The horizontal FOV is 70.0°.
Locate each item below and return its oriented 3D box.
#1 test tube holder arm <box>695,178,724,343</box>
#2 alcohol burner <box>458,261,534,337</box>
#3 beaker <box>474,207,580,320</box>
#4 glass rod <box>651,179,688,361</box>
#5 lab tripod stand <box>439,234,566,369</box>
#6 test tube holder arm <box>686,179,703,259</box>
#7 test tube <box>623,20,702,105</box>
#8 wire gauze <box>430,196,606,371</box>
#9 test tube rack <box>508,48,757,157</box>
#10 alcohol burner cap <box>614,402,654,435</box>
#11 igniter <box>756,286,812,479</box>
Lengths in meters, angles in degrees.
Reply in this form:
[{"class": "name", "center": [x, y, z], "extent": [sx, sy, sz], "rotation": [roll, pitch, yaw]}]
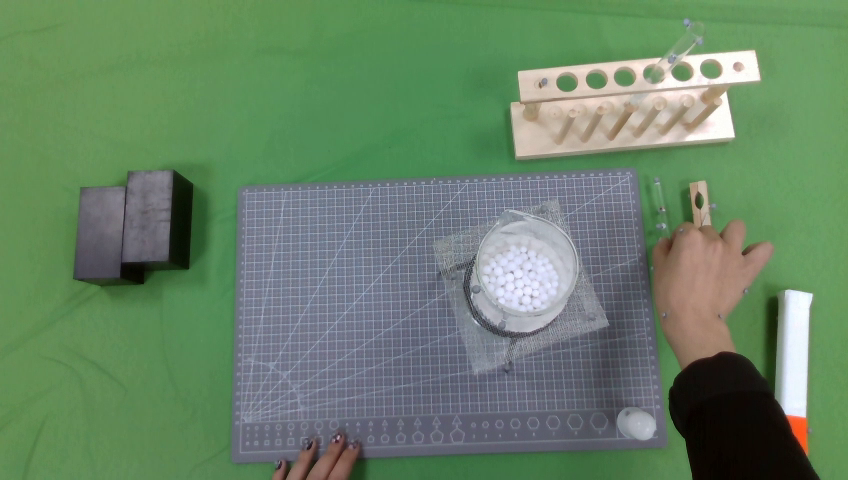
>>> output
[{"class": "test tube holder arm", "center": [0.305, 0.020, 0.649], "extent": [0.013, 0.015, 0.177], "rotation": [-12, 76, 36]}, {"class": "alcohol burner", "center": [0.072, 0.056, 0.601], "extent": [0.078, 0.119, 0.077], "rotation": [-1, 76, 3]}, {"class": "beaker", "center": [0.075, 0.024, 0.481], "extent": [0.074, 0.101, 0.083], "rotation": [-18, 78, 1]}, {"class": "glass rod", "center": [0.265, 0.030, 0.655], "extent": [0.008, 0.008, 0.199], "rotation": [-7, 82, 0]}, {"class": "lab tripod stand", "center": [0.077, 0.052, 0.591], "extent": [0.148, 0.132, 0.147], "rotation": [-1, 79, 4]}, {"class": "test tube holder arm", "center": [0.298, -0.023, 0.661], "extent": [0.010, 0.015, 0.087], "rotation": [-11, 77, 36]}, {"class": "test tube", "center": [0.234, -0.172, 0.608], "extent": [0.017, 0.150, 0.017], "rotation": [1, 77, -4]}, {"class": "wire gauze", "center": [0.080, 0.036, 0.527], "extent": [0.121, 0.011, 0.124], "rotation": [-19, 80, 1]}, {"class": "test tube rack", "center": [0.218, -0.145, 0.654], "extent": [0.242, 0.085, 0.066], "rotation": [-5, 78, 1]}, {"class": "alcohol burner cap", "center": [0.213, 0.180, 0.608], "extent": [0.034, 0.048, 0.033], "rotation": [0, 78, 2]}, {"class": "igniter", "center": [0.365, 0.183, 0.613], "extent": [0.057, 0.025, 0.275], "rotation": [10, 79, -6]}]
